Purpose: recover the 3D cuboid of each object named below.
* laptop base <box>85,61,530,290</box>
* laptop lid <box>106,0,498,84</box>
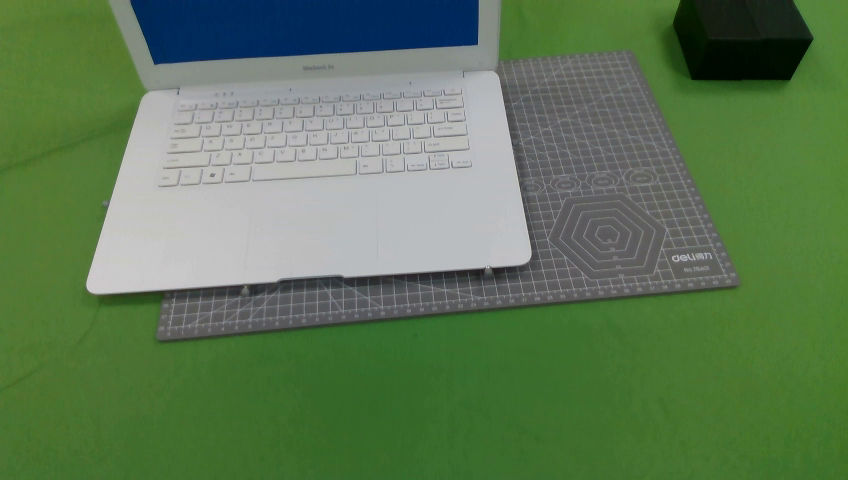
[{"bbox_3d":[-0.098,-0.066,0.542,0.354,0.023,0.233,-4,58,-1],"label":"laptop base"},{"bbox_3d":[-0.109,-0.246,0.524,0.357,0.244,0.013,-5,46,0],"label":"laptop lid"}]
